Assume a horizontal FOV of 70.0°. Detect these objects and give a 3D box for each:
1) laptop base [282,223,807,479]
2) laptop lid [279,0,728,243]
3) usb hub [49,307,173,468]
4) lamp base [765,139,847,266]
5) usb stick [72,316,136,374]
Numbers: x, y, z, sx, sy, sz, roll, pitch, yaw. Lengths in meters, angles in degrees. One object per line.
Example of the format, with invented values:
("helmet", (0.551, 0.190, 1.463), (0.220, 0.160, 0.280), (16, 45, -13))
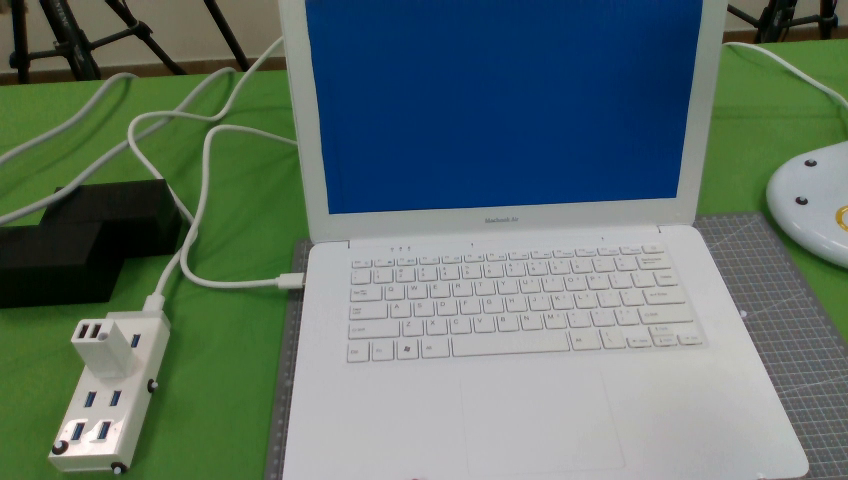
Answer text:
("laptop base", (0.077, 0.083, 0.478), (0.354, 0.023, 0.233), (-3, 49, -1))
("laptop lid", (0.067, -0.108, 0.509), (0.357, 0.243, 0.013), (-4, 25, -1))
("usb hub", (-0.232, 0.107, 0.457), (0.049, 0.025, 0.124), (-3, 46, 0))
("lamp base", (0.413, -0.092, 0.526), (0.160, 0.182, 0.178), (20, 47, 20))
("usb stick", (-0.229, 0.081, 0.441), (0.027, 0.060, 0.021), (-4, 46, 0))
